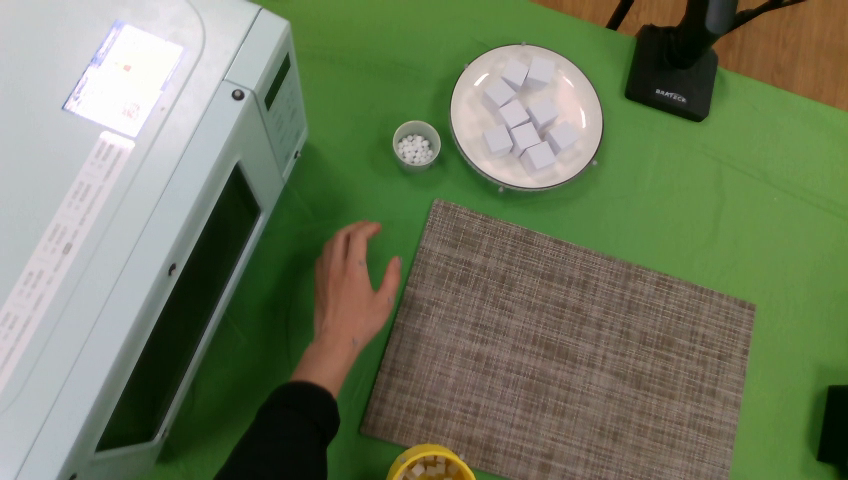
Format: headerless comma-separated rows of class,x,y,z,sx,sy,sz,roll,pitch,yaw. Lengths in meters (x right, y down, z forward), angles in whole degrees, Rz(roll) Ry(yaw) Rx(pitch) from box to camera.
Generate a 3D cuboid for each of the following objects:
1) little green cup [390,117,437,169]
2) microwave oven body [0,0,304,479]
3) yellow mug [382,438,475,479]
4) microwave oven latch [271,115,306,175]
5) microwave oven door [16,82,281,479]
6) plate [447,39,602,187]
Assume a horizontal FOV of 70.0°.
little green cup,-0.016,-0.122,0.777,0.062,0.039,0.061,2,77,-8
microwave oven body,-0.359,-0.038,0.596,0.326,0.261,0.440,21,76,-2
yellow mug,-0.004,0.289,0.669,0.100,0.064,0.130,30,78,0
microwave oven latch,-0.171,-0.121,0.740,0.030,0.029,0.079,24,76,-2
microwave oven door,-0.238,0.052,0.585,0.039,0.244,0.354,21,75,-1
plate,0.132,-0.166,0.809,0.208,0.039,0.206,2,77,-7
